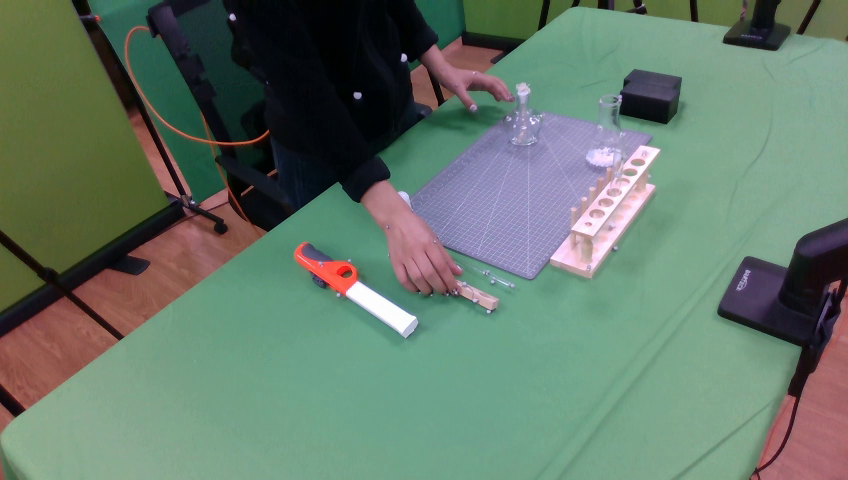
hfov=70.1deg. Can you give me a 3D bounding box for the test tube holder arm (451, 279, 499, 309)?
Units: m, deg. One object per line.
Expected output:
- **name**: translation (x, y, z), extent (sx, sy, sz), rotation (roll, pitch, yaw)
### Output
- **test tube holder arm**: translation (0.071, 0.079, 0.882), extent (0.087, 0.015, 0.010), rotation (23, 14, 34)

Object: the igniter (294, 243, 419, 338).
- **igniter**: translation (-0.113, 0.070, 0.919), extent (0.274, 0.025, 0.057), rotation (29, 63, 36)

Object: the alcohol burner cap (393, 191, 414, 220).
- **alcohol burner cap**: translation (-0.037, -0.062, 1.044), extent (0.034, 0.048, 0.033), rotation (-5, 41, 5)

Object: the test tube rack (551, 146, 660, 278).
- **test tube rack**: translation (0.286, -0.053, 0.943), extent (0.066, 0.085, 0.243), rotation (21, 49, 32)

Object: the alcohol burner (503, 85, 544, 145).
- **alcohol burner**: translation (0.191, -0.243, 1.160), extent (0.078, 0.119, 0.077), rotation (-4, 40, 4)

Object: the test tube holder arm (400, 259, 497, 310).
- **test tube holder arm**: translation (0.033, 0.064, 0.902), extent (0.177, 0.015, 0.013), rotation (23, 14, 33)

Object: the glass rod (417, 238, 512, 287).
- **glass rod**: translation (0.058, 0.033, 0.945), extent (0.198, 0.008, 0.008), rotation (26, 52, 38)

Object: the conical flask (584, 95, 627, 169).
- **conical flask**: translation (0.324, -0.192, 1.066), extent (0.075, 0.122, 0.075), rotation (-6, 40, 5)

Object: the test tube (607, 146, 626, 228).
- **test tube**: translation (0.283, -0.074, 0.892), extent (0.017, 0.151, 0.017), rotation (-5, 44, 6)
